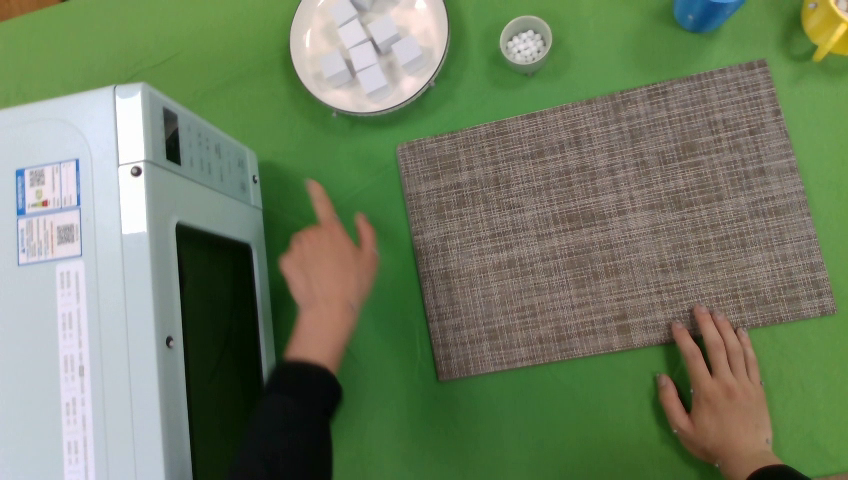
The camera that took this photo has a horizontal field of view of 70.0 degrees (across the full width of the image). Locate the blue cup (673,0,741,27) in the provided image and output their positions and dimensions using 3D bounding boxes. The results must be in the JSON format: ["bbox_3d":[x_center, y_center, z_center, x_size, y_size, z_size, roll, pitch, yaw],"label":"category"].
[{"bbox_3d":[0.322,-0.288,0.679,0.092,0.100,0.092,-1,84,9],"label":"blue cup"}]

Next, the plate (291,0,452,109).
[{"bbox_3d":[-0.065,-0.264,0.774,0.207,0.039,0.207,-1,83,10],"label":"plate"}]

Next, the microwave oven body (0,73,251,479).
[{"bbox_3d":[-0.367,0.095,0.667,0.326,0.261,0.440,-9,83,8],"label":"microwave oven body"}]

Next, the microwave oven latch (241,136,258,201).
[{"bbox_3d":[-0.228,-0.088,0.763,0.030,0.029,0.079,-6,83,9],"label":"microwave oven latch"}]

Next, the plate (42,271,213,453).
[{"bbox_3d":[-0.342,0.140,0.711,0.209,0.038,0.208,-1,83,9],"label":"plate"}]

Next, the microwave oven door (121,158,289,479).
[{"bbox_3d":[-0.220,0.115,0.634,0.039,0.245,0.354,-9,82,9],"label":"microwave oven door"}]

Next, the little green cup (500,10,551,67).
[{"bbox_3d":[0.124,-0.243,0.740,0.061,0.039,0.061,-1,83,10],"label":"little green cup"}]

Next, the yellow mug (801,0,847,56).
[{"bbox_3d":[0.474,-0.259,0.668,0.099,0.064,0.131,37,92,11],"label":"yellow mug"}]
